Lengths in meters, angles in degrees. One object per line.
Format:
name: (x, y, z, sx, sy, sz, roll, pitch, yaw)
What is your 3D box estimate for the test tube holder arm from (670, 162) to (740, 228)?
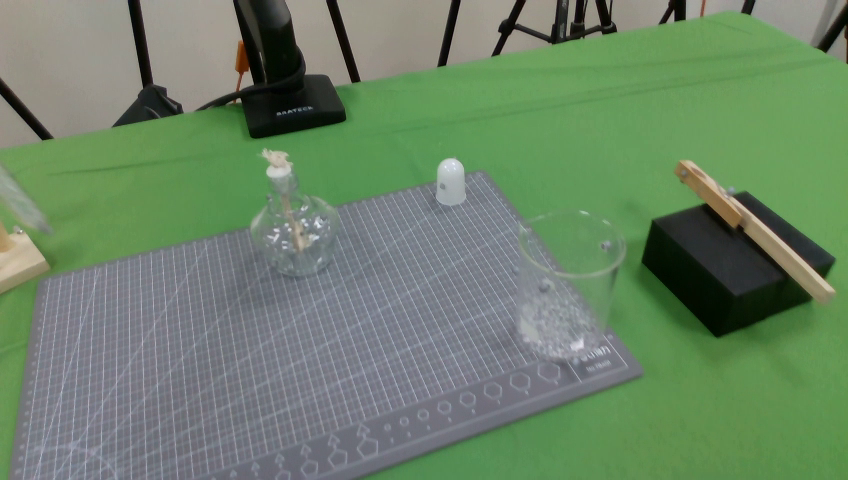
test tube holder arm: (0.247, -0.041, 0.532, 0.010, 0.015, 0.087, -10, 41, -16)

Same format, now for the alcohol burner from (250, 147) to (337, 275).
alcohol burner: (-0.118, -0.028, 0.532, 0.078, 0.120, 0.077, -3, 41, 3)

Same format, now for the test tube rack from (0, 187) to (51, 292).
test tube rack: (-0.463, 0.036, 0.503, 0.242, 0.086, 0.066, -33, 50, -30)

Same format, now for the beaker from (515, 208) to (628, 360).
beaker: (0.104, 0.036, 0.460, 0.083, 0.101, 0.074, 28, 50, 31)

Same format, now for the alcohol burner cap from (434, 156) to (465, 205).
alcohol burner cap: (0.026, -0.063, 0.620, 0.034, 0.048, 0.033, -1, 41, 2)

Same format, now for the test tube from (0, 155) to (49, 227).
test tube: (-0.251, -0.059, 0.325, 0.017, 0.152, 0.017, -4, 50, 5)

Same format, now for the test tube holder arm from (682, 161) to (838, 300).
test tube holder arm: (0.268, -0.015, 0.501, 0.013, 0.015, 0.176, -11, 41, -17)
